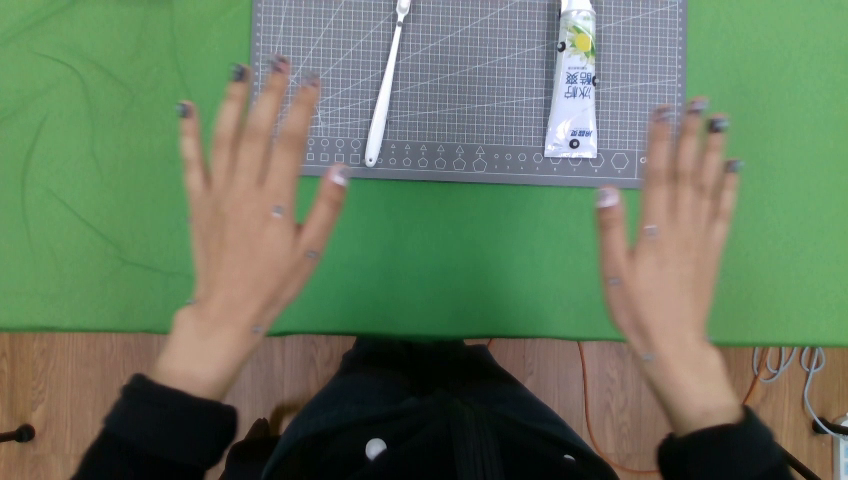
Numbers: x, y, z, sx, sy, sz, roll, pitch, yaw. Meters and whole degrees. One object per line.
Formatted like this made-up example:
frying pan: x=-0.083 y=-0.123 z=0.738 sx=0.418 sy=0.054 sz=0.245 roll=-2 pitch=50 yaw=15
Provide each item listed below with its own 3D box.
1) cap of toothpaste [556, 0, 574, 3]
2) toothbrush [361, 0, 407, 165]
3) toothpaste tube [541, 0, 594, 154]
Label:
cap of toothpaste: x=0.151 y=-0.253 z=0.615 sx=0.037 sy=0.037 sz=0.011 roll=-11 pitch=86 yaw=-4
toothbrush: x=-0.040 y=-0.165 z=0.613 sx=0.014 sy=0.016 sz=0.181 roll=12 pitch=90 yaw=-17
toothpaste tube: x=0.149 y=-0.171 z=0.620 sx=0.055 sy=0.034 sz=0.165 roll=1 pitch=93 yaw=4
